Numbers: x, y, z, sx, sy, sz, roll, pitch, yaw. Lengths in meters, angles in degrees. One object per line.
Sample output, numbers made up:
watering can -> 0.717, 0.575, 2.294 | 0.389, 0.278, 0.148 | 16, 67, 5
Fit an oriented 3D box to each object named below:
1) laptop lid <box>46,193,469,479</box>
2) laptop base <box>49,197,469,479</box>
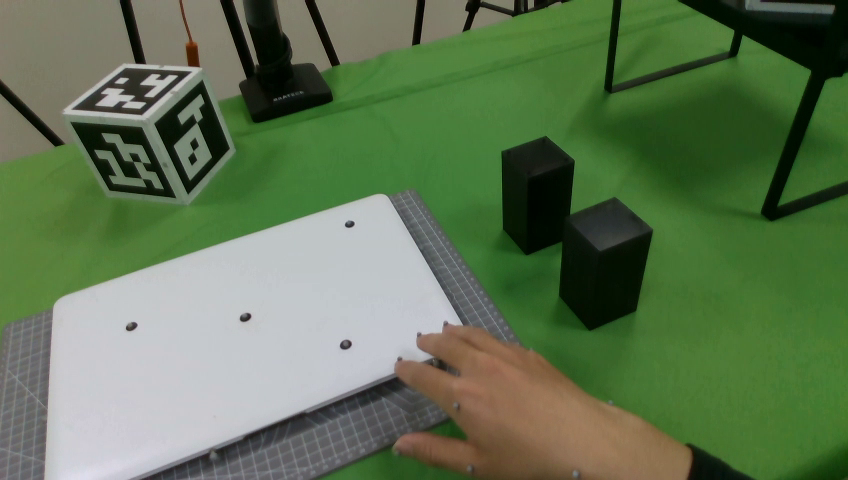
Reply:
laptop lid -> -0.162, 0.075, 0.562 | 0.357, 0.013, 0.239 | -18, 46, -11
laptop base -> -0.162, 0.082, 0.572 | 0.355, 0.023, 0.232 | -20, 47, -13
